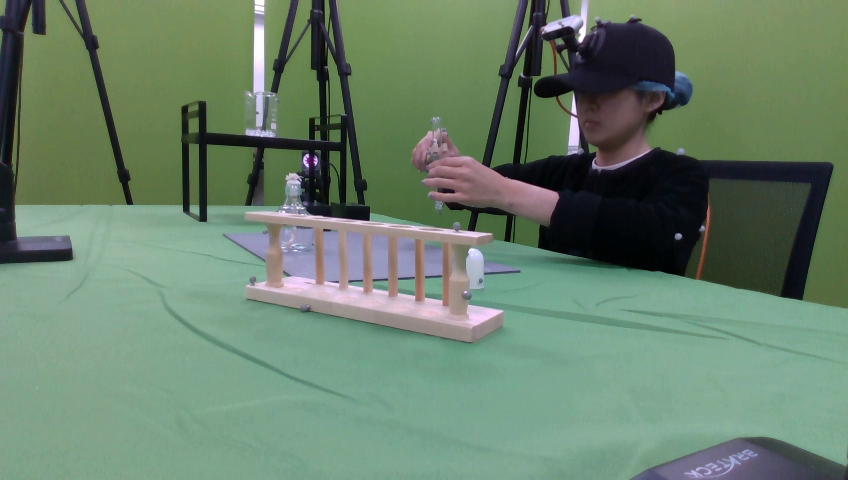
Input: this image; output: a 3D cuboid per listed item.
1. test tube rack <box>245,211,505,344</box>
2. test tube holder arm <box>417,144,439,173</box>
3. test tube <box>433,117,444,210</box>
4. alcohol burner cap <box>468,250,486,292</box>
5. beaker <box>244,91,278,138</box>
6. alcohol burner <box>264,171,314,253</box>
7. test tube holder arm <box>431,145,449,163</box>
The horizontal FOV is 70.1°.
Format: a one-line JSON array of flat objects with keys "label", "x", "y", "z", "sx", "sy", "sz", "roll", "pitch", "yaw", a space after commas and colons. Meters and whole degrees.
[{"label": "test tube rack", "x": -0.049, "y": 0.025, "z": 0.547, "sx": 0.241, "sy": 0.085, "sz": 0.067, "roll": 7, "pitch": 8, "yaw": 29}, {"label": "test tube holder arm", "x": 0.006, "y": -0.138, "z": 1.039, "sx": 0.013, "sy": 0.015, "sz": 0.178, "roll": 2, "pitch": -5, "yaw": -11}, {"label": "test tube", "x": 0.023, "y": -0.123, "z": 0.976, "sx": 0.017, "sy": 0.150, "sz": 0.017, "roll": -1, "pitch": 6, "yaw": 0}, {"label": "alcohol burner cap", "x": 0.056, "y": 0.035, "z": 0.690, "sx": 0.034, "sy": 0.048, "sz": 0.034, "roll": 2, "pitch": 7, "yaw": 0}, {"label": "beaker", "x": -0.368, "y": -0.280, "z": 1.356, "sx": 0.074, "sy": 0.100, "sz": 0.084, "roll": 4, "pitch": 8, "yaw": 6}, {"label": "alcohol burner", "x": -0.194, "y": -0.042, "z": 0.888, "sx": 0.078, "sy": 0.119, "sz": 0.078, "roll": 3, "pitch": 5, "yaw": 0}, {"label": "test tube holder arm", "x": 0.022, "y": -0.141, "z": 0.997, "sx": 0.010, "sy": 0.015, "sz": 0.087, "roll": 2, "pitch": -5, "yaw": -18}]
